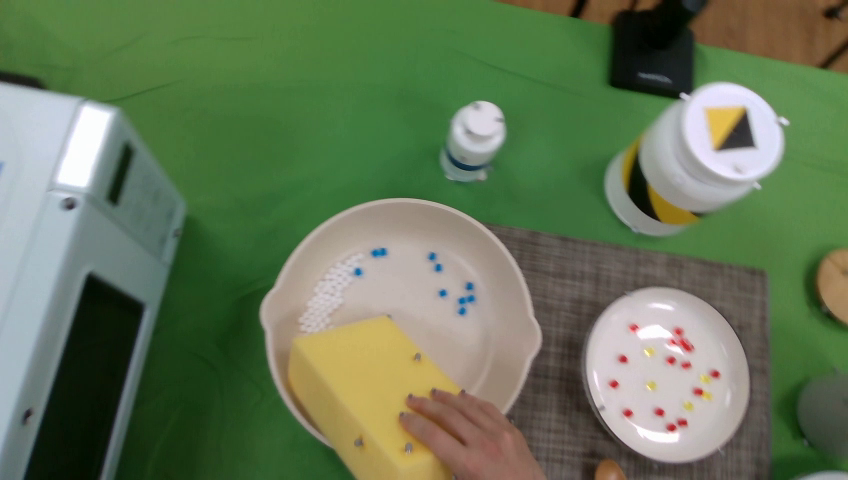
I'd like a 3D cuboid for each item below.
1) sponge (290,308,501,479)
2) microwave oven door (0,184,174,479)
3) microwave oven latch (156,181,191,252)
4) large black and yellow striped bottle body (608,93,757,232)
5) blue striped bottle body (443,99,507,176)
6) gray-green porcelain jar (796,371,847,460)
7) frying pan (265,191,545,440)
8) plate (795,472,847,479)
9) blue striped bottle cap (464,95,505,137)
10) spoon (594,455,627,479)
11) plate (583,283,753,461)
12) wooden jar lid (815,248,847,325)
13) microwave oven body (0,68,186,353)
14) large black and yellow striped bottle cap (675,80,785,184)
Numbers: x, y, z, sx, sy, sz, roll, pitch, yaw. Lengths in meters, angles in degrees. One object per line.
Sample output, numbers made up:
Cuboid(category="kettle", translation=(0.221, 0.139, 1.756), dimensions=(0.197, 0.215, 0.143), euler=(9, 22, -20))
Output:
Cuboid(category="sponge", translation=(-0.037, 0.154, 0.608), dimensions=(0.119, 0.061, 0.204), euler=(-8, 31, -36))
Cuboid(category="microwave oven door", translation=(-0.311, 0.153, 0.528), dimensions=(0.039, 0.244, 0.354), euler=(10, 74, -5))
Cuboid(category="microwave oven latch", translation=(-0.287, -0.028, 0.683), dimensions=(0.030, 0.029, 0.079), euler=(13, 75, -5))
Cuboid(category="large black and yellow striped bottle body", translation=(0.316, -0.094, 0.728), dimensions=(0.131, 0.184, 0.130), euler=(2, 75, -7))
Cuboid(category="blue striped bottle body", translation=(0.063, -0.128, 0.733), dimensions=(0.063, 0.121, 0.062), euler=(2, 75, -7))
Cuboid(category="gray-green porcelain jar", translation=(0.517, 0.205, 0.708), dimensions=(0.106, 0.127, 0.105), euler=(2, 75, -7))
Cuboid(category="frying pan", translation=(-0.033, 0.186, 0.646), dimensions=(0.307, 0.103, 0.484), euler=(9, 67, -3))
Cuboid(category="plate", translation=(0.480, 0.377, 0.705), dimensions=(0.208, 0.039, 0.206), euler=(2, 75, -7))
Cuboid(category="blue striped bottle cap", translation=(0.068, -0.140, 0.684), dimensions=(0.044, 0.021, 0.044), euler=(2, 72, -6))
Cuboid(category="spoon", translation=(0.259, 0.328, 0.693), dimensions=(0.041, 0.022, 0.193), euler=(-37, 84, -32))
Cuboid(category="plate", translation=(0.289, 0.156, 0.731), dimensions=(0.209, 0.038, 0.208), euler=(2, 76, -7))
Cuboid(category="wooden jar lid", translation=(0.571, 0.064, 0.807), dimensions=(0.108, 0.021, 0.108), euler=(2, 77, -7))
Cuboid(category="microwave oven body", translation=(-0.447, 0.088, 0.531), dimensions=(0.327, 0.261, 0.439), euler=(11, 75, -5))
Cuboid(category="large black and yellow striped bottle cap", translation=(0.326, -0.116, 0.645), dimensions=(0.115, 0.019, 0.114), euler=(2, 74, -7))
